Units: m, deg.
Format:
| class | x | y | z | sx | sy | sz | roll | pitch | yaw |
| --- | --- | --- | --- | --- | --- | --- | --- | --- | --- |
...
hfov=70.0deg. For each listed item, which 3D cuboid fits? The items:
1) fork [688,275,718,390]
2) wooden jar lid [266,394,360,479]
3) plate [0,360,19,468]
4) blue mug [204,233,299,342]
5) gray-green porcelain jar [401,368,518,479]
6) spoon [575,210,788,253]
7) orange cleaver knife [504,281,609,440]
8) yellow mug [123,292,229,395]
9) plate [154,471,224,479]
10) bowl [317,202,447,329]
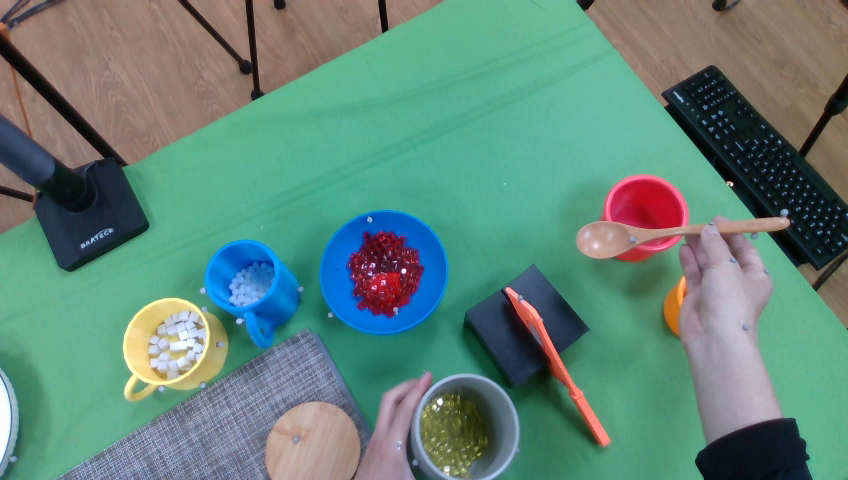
| class | x | y | z | sx | sy | sz | roll | pitch | yaw |
| --- | --- | --- | --- | --- | --- | --- | --- | --- | --- |
| fork | 0.311 | 0.095 | 0.669 | 0.028 | 0.019 | 0.206 | 27 | 31 | 6 |
| wooden jar lid | -0.126 | 0.234 | 0.699 | 0.108 | 0.021 | 0.108 | 0 | 74 | 1 |
| plate | -0.573 | 0.219 | 0.707 | 0.208 | 0.039 | 0.206 | 0 | 73 | 1 |
| blue mug | -0.197 | 0.063 | 0.713 | 0.082 | 0.106 | 0.116 | -11 | 73 | -2 |
| gray-green porcelain jar | 0.032 | 0.199 | 0.648 | 0.106 | 0.127 | 0.105 | 4 | 68 | -9 |
| spoon | 0.245 | -0.013 | 0.593 | 0.193 | 0.022 | 0.041 | -6 | 71 | 33 |
| orange cleaver knife | 0.151 | 0.138 | 0.694 | 0.012 | 0.077 | 0.212 | -33 | 104 | -9 |
| yellow mug | -0.301 | 0.129 | 0.715 | 0.099 | 0.064 | 0.130 | 35 | 78 | 12 |
| plate | -0.259 | 0.359 | 0.653 | 0.209 | 0.038 | 0.208 | 0 | 72 | 2 |
| bowl | -0.047 | 0.039 | 0.732 | 0.151 | 0.077 | 0.150 | 0 | 73 | 1 |
